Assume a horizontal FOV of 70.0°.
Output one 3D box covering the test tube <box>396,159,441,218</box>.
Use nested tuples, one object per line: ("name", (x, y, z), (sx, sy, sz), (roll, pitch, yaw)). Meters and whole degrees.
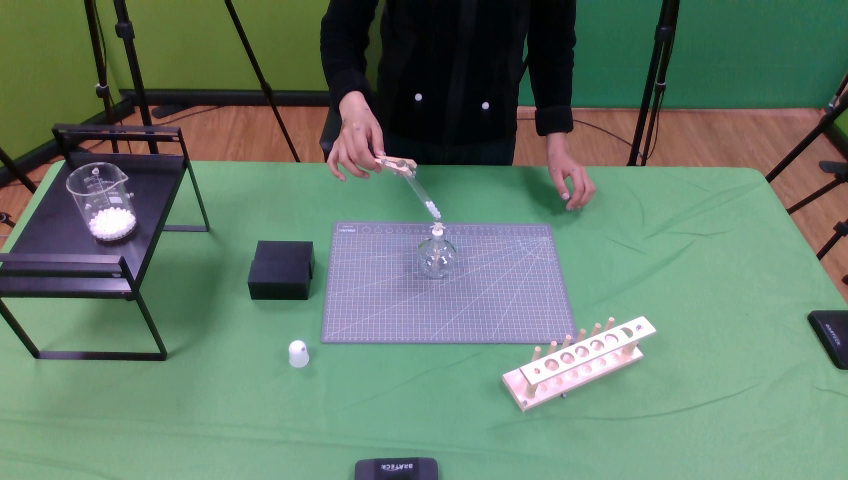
("test tube", (-0.006, -0.082, 1.008), (0.017, 0.151, 0.017), (-15, 51, 20))

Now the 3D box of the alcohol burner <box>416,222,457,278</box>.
("alcohol burner", (0.024, 0.013, 1.116), (0.078, 0.120, 0.077), (1, 45, -1))

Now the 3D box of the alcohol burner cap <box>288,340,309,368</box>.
("alcohol burner cap", (-0.207, 0.183, 0.991), (0.034, 0.048, 0.033), (3, 47, -2))

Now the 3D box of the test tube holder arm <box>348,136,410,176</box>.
("test tube holder arm", (-0.078, -0.141, 1.004), (0.177, 0.015, 0.013), (34, 96, 45))

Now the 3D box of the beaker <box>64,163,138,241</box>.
("beaker", (-0.477, -0.055, 0.910), (0.084, 0.101, 0.073), (-9, 48, -13))

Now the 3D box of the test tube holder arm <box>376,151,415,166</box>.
("test tube holder arm", (-0.048, -0.131, 0.972), (0.087, 0.015, 0.010), (19, 86, 45))

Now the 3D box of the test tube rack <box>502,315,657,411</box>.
("test tube rack", (0.253, 0.186, 0.989), (0.242, 0.085, 0.066), (-18, 50, -20))
